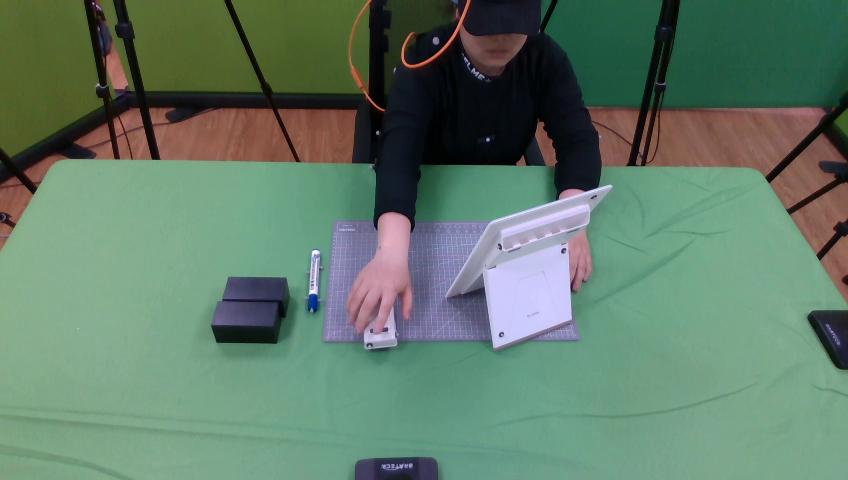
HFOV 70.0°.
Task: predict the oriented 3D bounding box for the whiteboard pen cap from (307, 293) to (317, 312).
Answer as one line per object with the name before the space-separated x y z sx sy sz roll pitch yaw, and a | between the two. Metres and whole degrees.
whiteboard pen cap | -0.199 0.110 1.078 0.018 0.018 0.033 -2 47 -6

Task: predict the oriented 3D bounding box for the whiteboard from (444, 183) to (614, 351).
whiteboard | 0.186 0.065 0.990 0.217 0.306 0.143 -16 69 -19

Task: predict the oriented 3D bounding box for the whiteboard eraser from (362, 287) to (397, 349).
whiteboard eraser | -0.077 0.135 1.042 0.055 0.042 0.112 -5 46 -3

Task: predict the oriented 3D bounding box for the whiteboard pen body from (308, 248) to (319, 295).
whiteboard pen body | -0.204 0.069 1.119 0.017 0.017 0.140 -1 46 -5
